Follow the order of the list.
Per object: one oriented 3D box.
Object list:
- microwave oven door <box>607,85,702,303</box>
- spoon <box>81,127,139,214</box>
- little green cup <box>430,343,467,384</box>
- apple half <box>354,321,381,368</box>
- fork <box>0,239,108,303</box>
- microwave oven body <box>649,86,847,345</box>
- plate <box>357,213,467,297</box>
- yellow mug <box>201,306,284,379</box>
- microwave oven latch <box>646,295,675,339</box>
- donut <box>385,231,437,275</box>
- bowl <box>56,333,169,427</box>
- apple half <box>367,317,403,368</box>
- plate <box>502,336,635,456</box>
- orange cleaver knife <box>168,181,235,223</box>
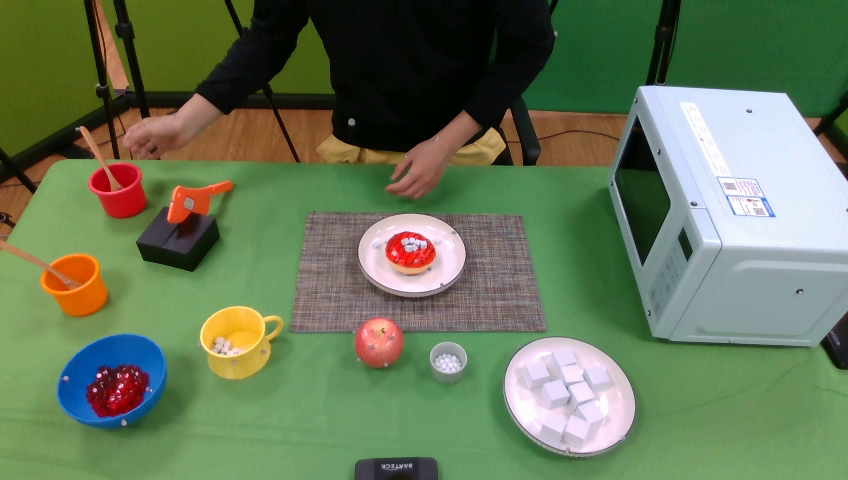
[{"bbox_3d":[0.423,-0.094,1.140,0.039,0.245,0.353,2,46,-1],"label":"microwave oven door"},{"bbox_3d":[-0.625,-0.139,1.203,0.041,0.021,0.194,-30,99,-27],"label":"spoon"},{"bbox_3d":[0.039,0.203,0.993,0.061,0.039,0.061,2,46,-2],"label":"little green cup"},{"bbox_3d":[-0.097,0.176,0.985,0.033,0.081,0.080,-12,48,-20],"label":"apple half"},{"bbox_3d":[-0.633,0.048,1.017,0.208,0.018,0.028,40,40,-27],"label":"fork"},{"bbox_3d":[0.568,-0.053,1.118,0.326,0.261,0.439,2,45,-1],"label":"microwave oven body"},{"bbox_3d":[-0.023,0.032,1.150,0.209,0.038,0.208,2,46,-2],"label":"plate"},{"bbox_3d":[-0.291,0.160,0.993,0.131,0.064,0.099,-23,51,-25],"label":"yellow mug"},{"bbox_3d":[0.412,0.134,1.061,0.030,0.029,0.078,4,45,1],"label":"microwave oven latch"},{"bbox_3d":[-0.025,0.024,1.142,0.099,0.048,0.098,3,44,-3],"label":"donut"},{"bbox_3d":[-0.456,0.223,0.911,0.151,0.077,0.150,3,46,-2],"label":"bowl"},{"bbox_3d":[-0.061,0.167,0.998,0.053,0.075,0.080,-11,44,-20],"label":"apple half"},{"bbox_3d":[0.225,0.248,0.963,0.208,0.039,0.206,2,46,-2],"label":"plate"},{"bbox_3d":[-0.436,-0.078,1.196,0.012,0.077,0.211,16,15,10],"label":"orange cleaver knife"}]
